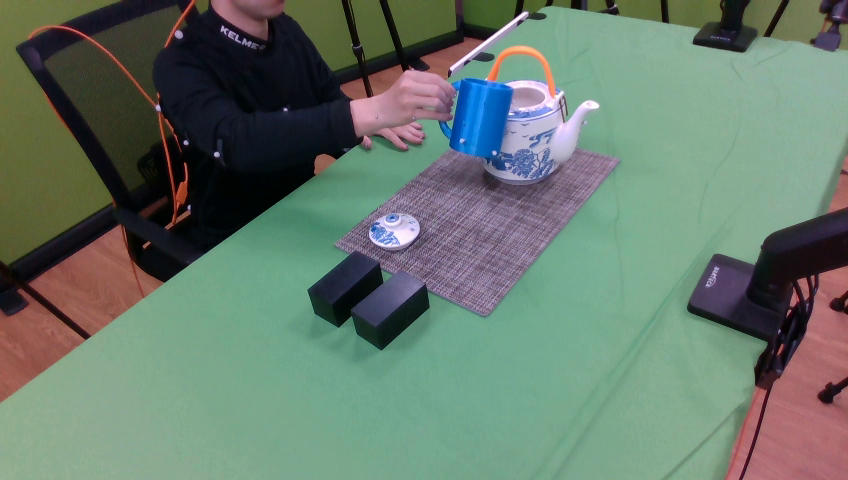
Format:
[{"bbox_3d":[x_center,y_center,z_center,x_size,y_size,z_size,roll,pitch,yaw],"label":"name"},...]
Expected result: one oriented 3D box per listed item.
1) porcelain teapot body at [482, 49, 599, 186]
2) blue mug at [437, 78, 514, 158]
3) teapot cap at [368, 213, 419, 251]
[{"bbox_3d":[0.193,-0.208,1.024,0.204,0.226,0.145,16,46,25],"label":"porcelain teapot body"},{"bbox_3d":[0.073,-0.194,0.937,0.116,0.106,0.083,19,23,22],"label":"blue mug"},{"bbox_3d":[-0.050,-0.019,0.975,0.085,0.044,0.085,-4,43,4],"label":"teapot cap"}]
